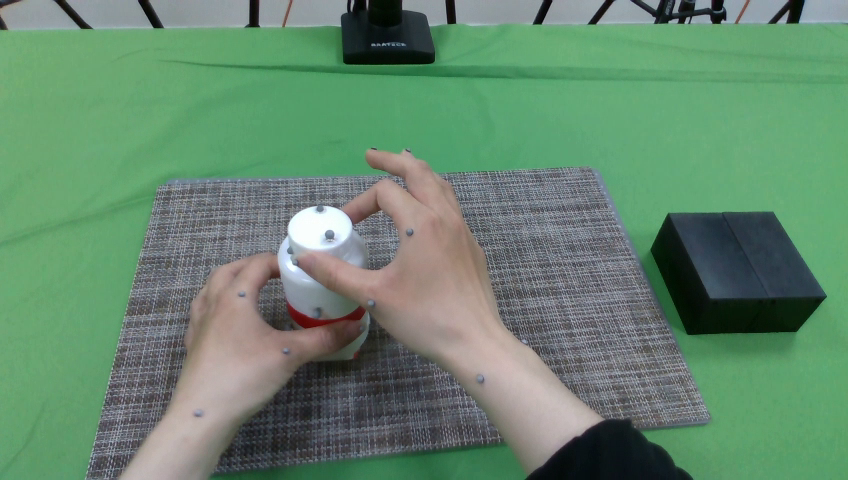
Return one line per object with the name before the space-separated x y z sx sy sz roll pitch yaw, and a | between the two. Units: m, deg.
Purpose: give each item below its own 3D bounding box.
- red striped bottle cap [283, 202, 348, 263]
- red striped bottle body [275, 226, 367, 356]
red striped bottle cap | -0.074 -0.006 0.412 0.044 0.018 0.044 7 47 -7
red striped bottle body | -0.075 0.030 0.453 0.063 0.120 0.062 2 49 -2
